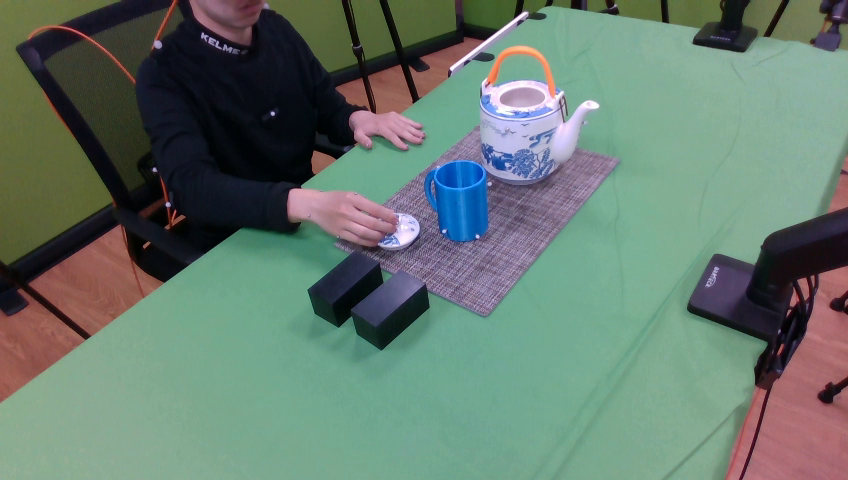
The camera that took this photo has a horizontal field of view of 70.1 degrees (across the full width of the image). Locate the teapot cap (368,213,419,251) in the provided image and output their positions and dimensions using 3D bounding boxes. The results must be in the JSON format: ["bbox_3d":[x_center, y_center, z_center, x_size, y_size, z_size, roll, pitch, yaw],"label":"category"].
[{"bbox_3d":[-0.050,-0.019,0.975,0.085,0.044,0.085,-4,43,4],"label":"teapot cap"}]

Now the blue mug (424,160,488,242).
[{"bbox_3d":[0.047,-0.067,0.970,0.115,0.106,0.082,22,49,30],"label":"blue mug"}]

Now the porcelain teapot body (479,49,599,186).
[{"bbox_3d":[0.192,-0.208,1.023,0.204,0.226,0.145,16,46,25],"label":"porcelain teapot body"}]
